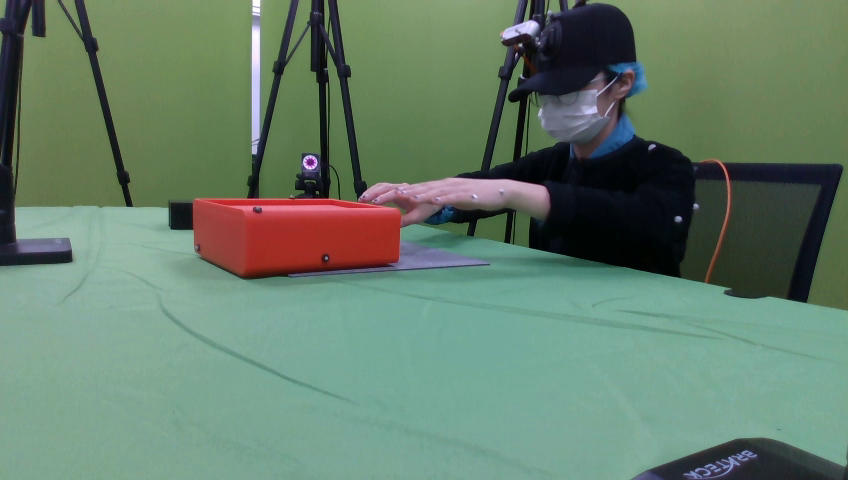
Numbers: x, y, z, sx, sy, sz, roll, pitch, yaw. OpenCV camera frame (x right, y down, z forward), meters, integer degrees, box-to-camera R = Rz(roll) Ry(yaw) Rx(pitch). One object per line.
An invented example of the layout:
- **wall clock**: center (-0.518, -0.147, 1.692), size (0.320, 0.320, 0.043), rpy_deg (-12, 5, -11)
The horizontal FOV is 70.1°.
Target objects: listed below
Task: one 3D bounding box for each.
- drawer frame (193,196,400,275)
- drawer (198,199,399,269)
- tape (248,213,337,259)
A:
- **drawer frame**: center (-0.173, -0.014, 0.815), size (0.215, 0.082, 0.200), rpy_deg (-4, 10, -37)
- **drawer**: center (-0.171, -0.014, 0.818), size (0.213, 0.073, 0.193), rpy_deg (-4, 10, -36)
- **tape**: center (-0.176, -0.008, 0.814), size (0.117, 0.052, 0.117), rpy_deg (3, 6, 0)
